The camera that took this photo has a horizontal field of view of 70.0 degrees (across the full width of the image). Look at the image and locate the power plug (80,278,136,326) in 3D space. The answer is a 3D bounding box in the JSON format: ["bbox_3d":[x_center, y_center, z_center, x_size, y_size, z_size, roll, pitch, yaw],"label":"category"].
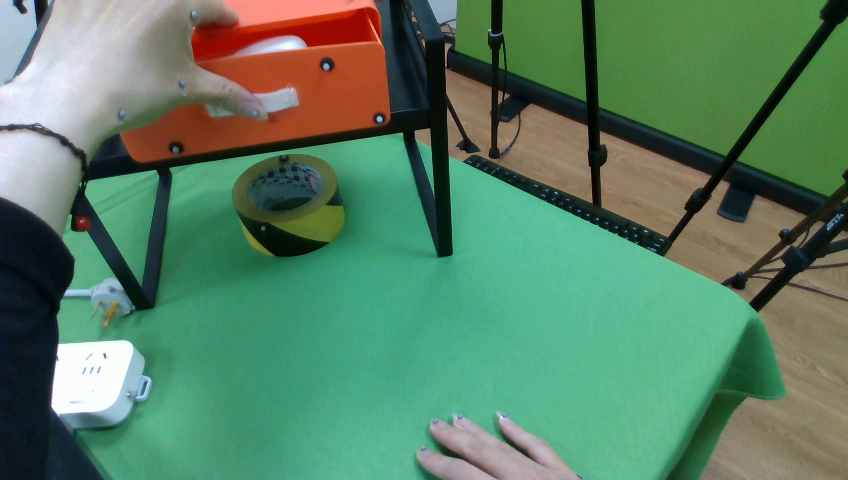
[{"bbox_3d":[-0.310,0.066,0.588,0.072,0.035,0.052,-27,34,28],"label":"power plug"}]

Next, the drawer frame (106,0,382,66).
[{"bbox_3d":[-0.153,-0.199,0.537,0.202,0.083,0.211,-12,46,-8],"label":"drawer frame"}]

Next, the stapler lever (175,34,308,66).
[{"bbox_3d":[-0.145,-0.137,0.473,0.118,0.040,0.026,0,42,6],"label":"stapler lever"}]

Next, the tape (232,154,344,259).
[{"bbox_3d":[-0.143,-0.039,0.652,0.117,0.053,0.115,-1,47,2],"label":"tape"}]

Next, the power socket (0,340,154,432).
[{"bbox_3d":[-0.351,0.127,0.520,0.227,0.033,0.071,-3,46,1],"label":"power socket"}]

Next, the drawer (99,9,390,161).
[{"bbox_3d":[-0.143,-0.166,0.507,0.195,0.074,0.209,-11,45,-7],"label":"drawer"}]

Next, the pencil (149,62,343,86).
[{"bbox_3d":[-0.154,-0.141,0.510,0.193,0.012,0.012,2,46,21],"label":"pencil"}]

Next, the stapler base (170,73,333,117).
[{"bbox_3d":[-0.141,-0.120,0.489,0.130,0.025,0.041,-1,41,7],"label":"stapler base"}]
